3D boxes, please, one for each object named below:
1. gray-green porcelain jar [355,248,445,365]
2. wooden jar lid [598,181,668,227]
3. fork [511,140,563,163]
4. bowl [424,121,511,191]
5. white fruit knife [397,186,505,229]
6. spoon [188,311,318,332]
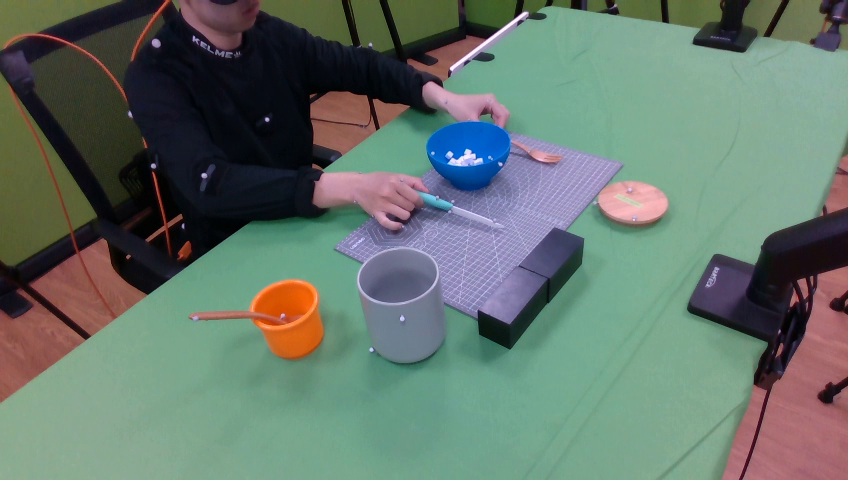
[{"bbox_3d":[-0.027,0.091,0.786,0.106,0.127,0.105,-4,40,4],"label":"gray-green porcelain jar"},{"bbox_3d":[0.340,-0.058,0.988,0.108,0.021,0.108,-5,41,5],"label":"wooden jar lid"},{"bbox_3d":[0.168,-0.181,1.150,0.206,0.019,0.028,25,58,27],"label":"fork"},{"bbox_3d":[0.081,-0.140,1.074,0.151,0.077,0.150,-4,40,4],"label":"bowl"},{"bbox_3d":[0.042,-0.054,1.012,0.206,0.027,0.016,20,64,21],"label":"white fruit knife"},{"bbox_3d":[-0.216,0.102,0.783,0.041,0.195,0.021,26,95,39],"label":"spoon"}]
